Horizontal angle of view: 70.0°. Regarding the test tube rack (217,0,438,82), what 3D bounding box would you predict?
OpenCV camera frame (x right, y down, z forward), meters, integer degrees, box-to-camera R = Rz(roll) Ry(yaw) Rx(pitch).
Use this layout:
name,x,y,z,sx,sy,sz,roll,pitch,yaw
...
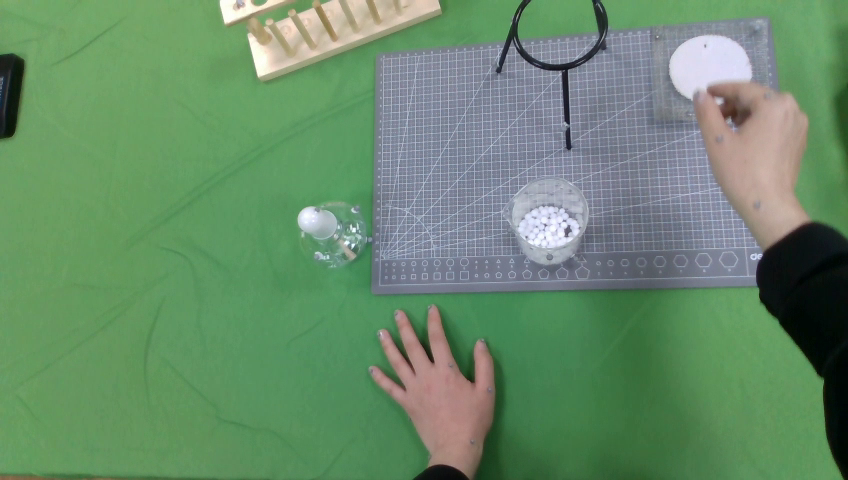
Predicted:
name,x,y,z,sx,sy,sz,roll,pitch,yaw
test tube rack,-0.113,-0.279,0.728,0.242,0.086,0.066,-19,75,6

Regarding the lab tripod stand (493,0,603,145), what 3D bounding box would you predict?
name,x,y,z,sx,sy,sz,roll,pitch,yaw
lab tripod stand,0.138,-0.189,0.635,0.148,0.132,0.148,-2,79,9

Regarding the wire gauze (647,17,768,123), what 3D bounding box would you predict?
name,x,y,z,sx,sy,sz,roll,pitch,yaw
wire gauze,0.311,-0.188,0.667,0.125,0.011,0.121,2,79,8

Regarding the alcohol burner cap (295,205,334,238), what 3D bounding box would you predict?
name,x,y,z,sx,sy,sz,roll,pitch,yaw
alcohol burner cap,-0.116,-0.021,0.625,0.034,0.048,0.033,-1,81,10

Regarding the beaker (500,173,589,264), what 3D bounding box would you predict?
name,x,y,z,sx,sy,sz,roll,pitch,yaw
beaker,0.123,-0.017,0.621,0.084,0.101,0.073,4,78,12

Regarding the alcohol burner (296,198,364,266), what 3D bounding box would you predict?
name,x,y,z,sx,sy,sz,roll,pitch,yaw
alcohol burner,-0.108,-0.013,0.659,0.078,0.120,0.077,-2,76,9
